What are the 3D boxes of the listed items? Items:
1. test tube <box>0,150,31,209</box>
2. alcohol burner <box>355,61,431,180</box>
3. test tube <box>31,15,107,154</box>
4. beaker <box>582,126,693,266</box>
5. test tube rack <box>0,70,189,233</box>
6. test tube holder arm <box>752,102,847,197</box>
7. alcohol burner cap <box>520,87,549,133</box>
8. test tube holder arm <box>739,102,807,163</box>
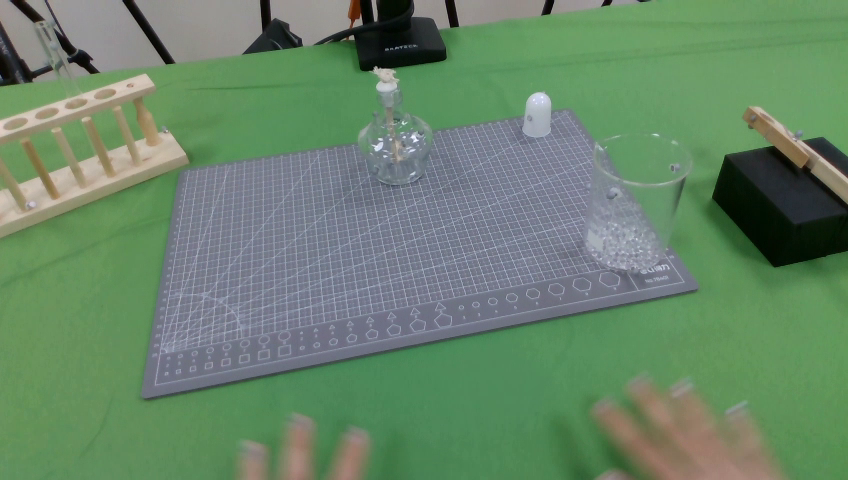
[{"bbox_3d":[-0.410,-0.092,0.566,0.017,0.152,0.017,-2,41,2],"label":"test tube"},{"bbox_3d":[-0.033,-0.121,0.605,0.078,0.120,0.077,-4,42,4],"label":"alcohol burner"},{"bbox_3d":[-0.360,-0.153,0.619,0.017,0.151,0.017,-2,41,2],"label":"test tube"},{"bbox_3d":[0.171,-0.035,0.508,0.074,0.101,0.083,-32,49,-25],"label":"beaker"},{"bbox_3d":[-0.383,-0.087,0.624,0.242,0.086,0.066,-27,48,-23],"label":"test tube rack"},{"bbox_3d":[0.337,-0.071,0.525,0.013,0.015,0.176,-6,43,-15],"label":"test tube holder arm"},{"bbox_3d":[0.124,-0.146,0.671,0.034,0.048,0.033,-2,44,2],"label":"alcohol burner cap"},{"bbox_3d":[0.320,-0.100,0.555,0.010,0.015,0.087,-6,43,-14],"label":"test tube holder arm"}]
